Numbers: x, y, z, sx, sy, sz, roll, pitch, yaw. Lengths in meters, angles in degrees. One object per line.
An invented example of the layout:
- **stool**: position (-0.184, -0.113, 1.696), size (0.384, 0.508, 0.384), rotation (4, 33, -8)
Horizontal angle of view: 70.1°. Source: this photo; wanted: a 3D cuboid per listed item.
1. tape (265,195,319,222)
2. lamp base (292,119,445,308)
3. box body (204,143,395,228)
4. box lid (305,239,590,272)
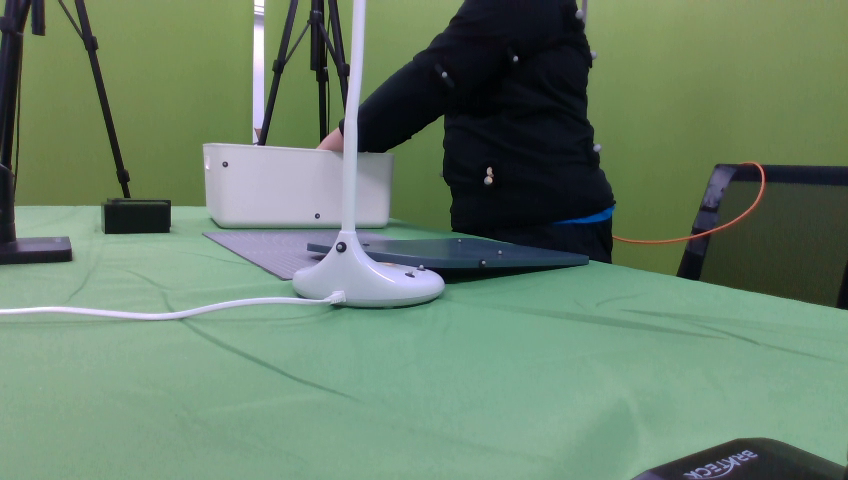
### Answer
- **tape**: position (-0.284, -0.068, 1.297), size (0.117, 0.052, 0.117), rotation (3, 5, 0)
- **lamp base**: position (-0.056, -0.030, 0.616), size (0.160, 0.180, 0.179), rotation (4, 10, 8)
- **box body**: position (-0.271, -0.117, 1.291), size (0.366, 0.160, 0.253), rotation (-1, 8, -25)
- **box lid**: position (0.042, 0.019, 0.879), size (0.262, 0.015, 0.374), rotation (7, 5, 44)
